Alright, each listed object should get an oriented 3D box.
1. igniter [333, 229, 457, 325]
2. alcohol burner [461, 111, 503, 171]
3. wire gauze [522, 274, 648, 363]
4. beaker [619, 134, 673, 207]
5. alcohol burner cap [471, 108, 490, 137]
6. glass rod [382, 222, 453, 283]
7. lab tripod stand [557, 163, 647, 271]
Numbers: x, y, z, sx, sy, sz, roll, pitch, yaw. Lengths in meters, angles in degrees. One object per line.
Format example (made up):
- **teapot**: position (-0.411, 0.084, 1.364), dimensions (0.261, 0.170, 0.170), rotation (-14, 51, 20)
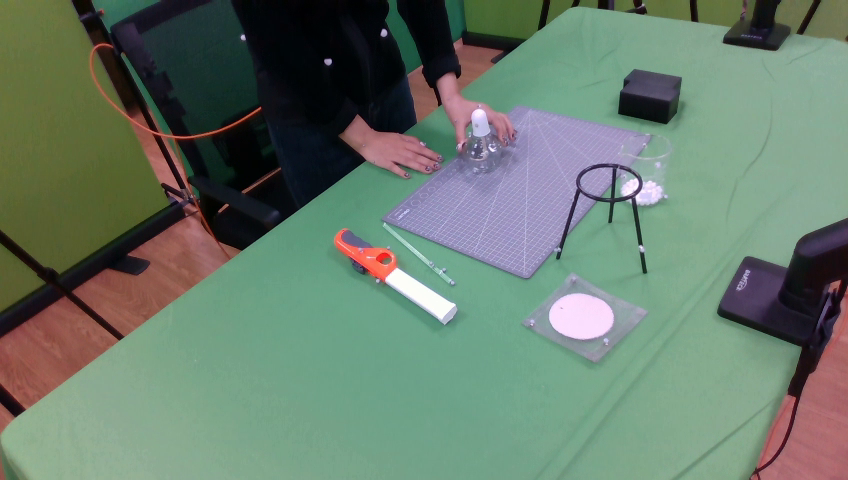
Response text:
- **igniter**: position (-0.055, 0.049, 0.929), dimensions (0.057, 0.025, 0.274), rotation (-42, 49, -20)
- **alcohol burner**: position (0.105, -0.186, 1.105), dimensions (0.078, 0.119, 0.077), rotation (-5, 42, 5)
- **wire gauze**: position (0.220, 0.105, 0.828), dimensions (0.125, 0.011, 0.120), rotation (-35, 47, -30)
- **beaker**: position (0.357, -0.110, 0.986), dimensions (0.084, 0.101, 0.073), rotation (-10, 40, 1)
- **alcohol burner cap**: position (0.099, -0.213, 1.082), dimensions (0.034, 0.048, 0.033), rotation (-9, 38, 8)
- **glass rod**: position (-0.014, 0.016, 0.976), dimensions (0.008, 0.008, 0.198), rotation (-30, 44, -22)
- **lab tripod stand**: position (0.271, -0.034, 0.885), dimensions (0.148, 0.132, 0.147), rotation (-4, 40, 4)
